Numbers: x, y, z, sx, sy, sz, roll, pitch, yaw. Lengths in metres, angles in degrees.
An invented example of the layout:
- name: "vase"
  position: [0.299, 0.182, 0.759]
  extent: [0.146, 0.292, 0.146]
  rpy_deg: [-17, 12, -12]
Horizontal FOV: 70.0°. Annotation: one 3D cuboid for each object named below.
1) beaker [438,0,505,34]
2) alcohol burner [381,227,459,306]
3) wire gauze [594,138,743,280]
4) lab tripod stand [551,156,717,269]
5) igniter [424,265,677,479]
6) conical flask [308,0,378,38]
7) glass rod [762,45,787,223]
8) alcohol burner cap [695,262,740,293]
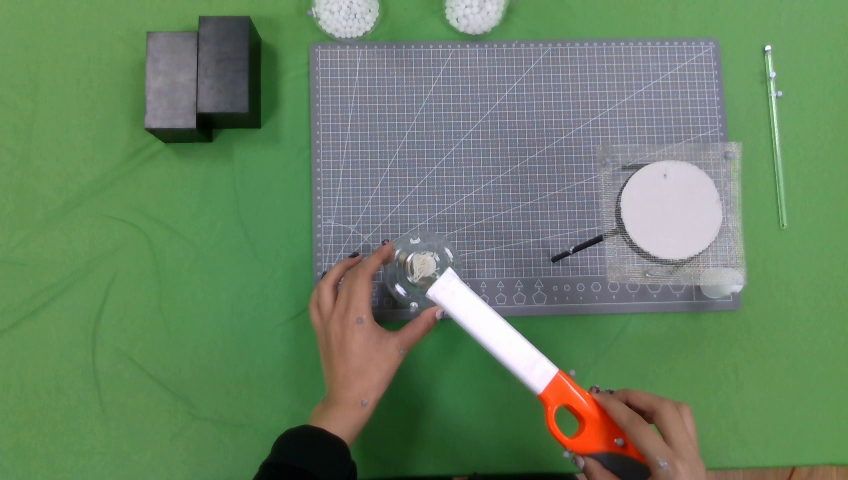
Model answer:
- name: "beaker"
  position: [0.054, -0.262, 0.619]
  extent: [0.084, 0.100, 0.074]
  rpy_deg: [34, 84, 1]
- name: "alcohol burner"
  position: [-0.003, 0.024, 0.578]
  extent: [0.078, 0.119, 0.077]
  rpy_deg: [0, 86, -2]
- name: "wire gauze"
  position: [0.209, -0.026, 0.515]
  extent: [0.125, 0.011, 0.121]
  rpy_deg: [0, 85, -1]
- name: "lab tripod stand"
  position: [0.202, -0.018, 0.581]
  extent: [0.148, 0.131, 0.148]
  rpy_deg: [0, 86, -2]
- name: "igniter"
  position: [0.109, 0.126, 0.514]
  extent: [0.276, 0.025, 0.057]
  rpy_deg: [43, 73, 2]
- name: "conical flask"
  position: [-0.085, -0.259, 0.601]
  extent: [0.075, 0.122, 0.075]
  rpy_deg: [0, 84, -2]
- name: "glass rod"
  position: [0.384, -0.118, 0.663]
  extent: [0.008, 0.008, 0.199]
  rpy_deg: [-2, 84, -3]
- name: "alcohol burner cap"
  position: [0.306, 0.038, 0.626]
  extent: [0.034, 0.048, 0.034]
  rpy_deg: [0, 84, -2]
